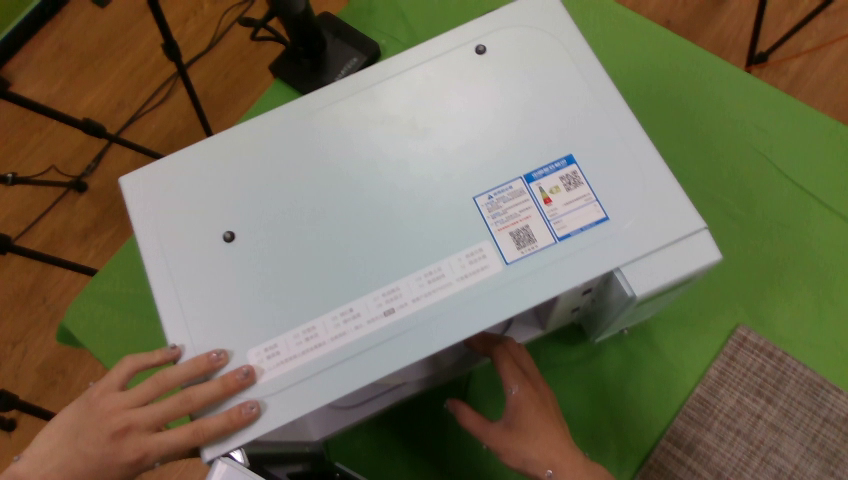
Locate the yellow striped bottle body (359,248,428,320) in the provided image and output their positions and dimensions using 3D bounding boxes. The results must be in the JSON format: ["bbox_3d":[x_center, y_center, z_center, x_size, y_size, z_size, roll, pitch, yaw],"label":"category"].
[{"bbox_3d":[-0.031,0.046,0.625,0.063,0.121,0.062,-1,77,4],"label":"yellow striped bottle body"}]

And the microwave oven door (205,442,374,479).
[{"bbox_3d":[0.005,0.279,0.534,0.354,0.245,0.039,24,76,13],"label":"microwave oven door"}]

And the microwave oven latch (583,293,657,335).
[{"bbox_3d":[0.220,0.079,0.682,0.079,0.030,0.030,-24,72,-1],"label":"microwave oven latch"}]

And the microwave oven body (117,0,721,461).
[{"bbox_3d":[-0.012,-0.001,0.630,0.442,0.262,0.323,-26,72,-1],"label":"microwave oven body"}]
